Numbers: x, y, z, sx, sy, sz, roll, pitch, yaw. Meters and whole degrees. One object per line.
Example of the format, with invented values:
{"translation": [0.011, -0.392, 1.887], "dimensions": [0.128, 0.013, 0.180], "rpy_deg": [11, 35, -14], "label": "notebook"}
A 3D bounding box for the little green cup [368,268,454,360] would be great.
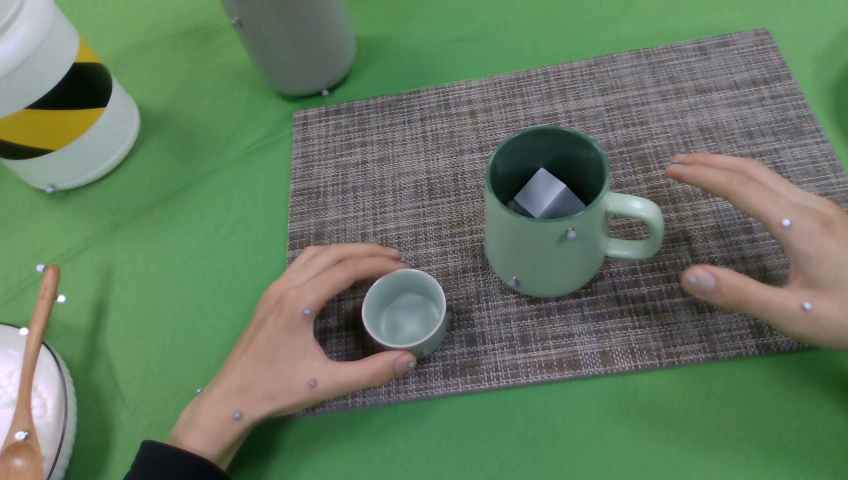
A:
{"translation": [-0.008, 0.055, 0.436], "dimensions": [0.061, 0.039, 0.061], "rpy_deg": [-1, 45, 2], "label": "little green cup"}

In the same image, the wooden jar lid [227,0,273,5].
{"translation": [-0.141, -0.241, 0.520], "dimensions": [0.108, 0.021, 0.107], "rpy_deg": [-4, 62, 8], "label": "wooden jar lid"}

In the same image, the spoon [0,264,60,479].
{"translation": [-0.294, 0.105, 0.453], "dimensions": [0.041, 0.022, 0.192], "rpy_deg": [-7, 68, 5], "label": "spoon"}

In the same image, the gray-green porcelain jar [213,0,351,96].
{"translation": [-0.130, -0.209, 0.572], "dimensions": [0.106, 0.128, 0.105], "rpy_deg": [-4, 59, 8], "label": "gray-green porcelain jar"}

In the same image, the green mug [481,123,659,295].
{"translation": [0.100, -0.016, 0.427], "dimensions": [0.125, 0.106, 0.092], "rpy_deg": [11, 62, 16], "label": "green mug"}

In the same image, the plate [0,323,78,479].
{"translation": [-0.351, 0.163, 0.448], "dimensions": [0.209, 0.038, 0.207], "rpy_deg": [-4, 59, 8], "label": "plate"}

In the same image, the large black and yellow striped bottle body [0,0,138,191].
{"translation": [-0.366, -0.144, 0.542], "dimensions": [0.130, 0.186, 0.129], "rpy_deg": [-4, 60, 8], "label": "large black and yellow striped bottle body"}

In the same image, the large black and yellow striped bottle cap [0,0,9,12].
{"translation": [-0.380, -0.184, 0.470], "dimensions": [0.115, 0.019, 0.114], "rpy_deg": [-5, 58, 8], "label": "large black and yellow striped bottle cap"}
